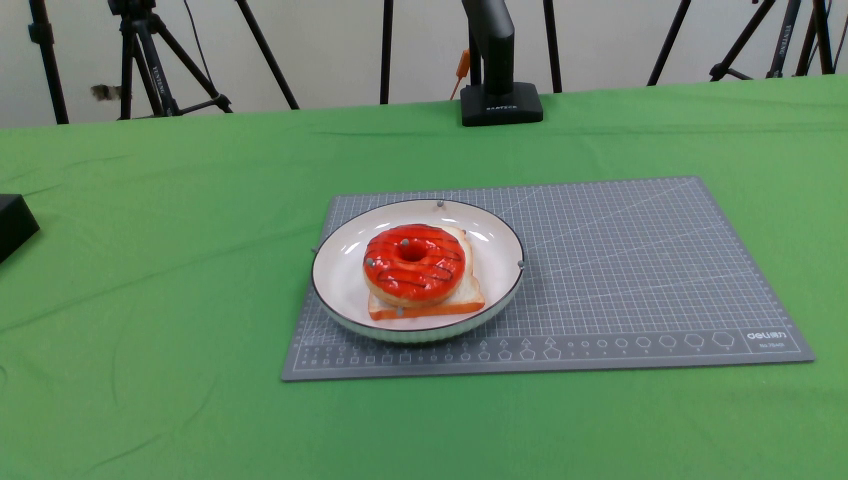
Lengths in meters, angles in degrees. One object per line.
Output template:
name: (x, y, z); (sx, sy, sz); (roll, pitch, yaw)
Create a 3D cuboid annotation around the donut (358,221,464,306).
donut: (-0.012, 0.022, 0.563); (0.099, 0.048, 0.098); (-1, 40, 1)

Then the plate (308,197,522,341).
plate: (-0.007, 0.028, 0.599); (0.209, 0.038, 0.207); (-3, 36, 2)

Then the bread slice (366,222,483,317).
bread slice: (-0.005, 0.026, 0.604); (0.107, 0.018, 0.133); (-6, 37, -3)
